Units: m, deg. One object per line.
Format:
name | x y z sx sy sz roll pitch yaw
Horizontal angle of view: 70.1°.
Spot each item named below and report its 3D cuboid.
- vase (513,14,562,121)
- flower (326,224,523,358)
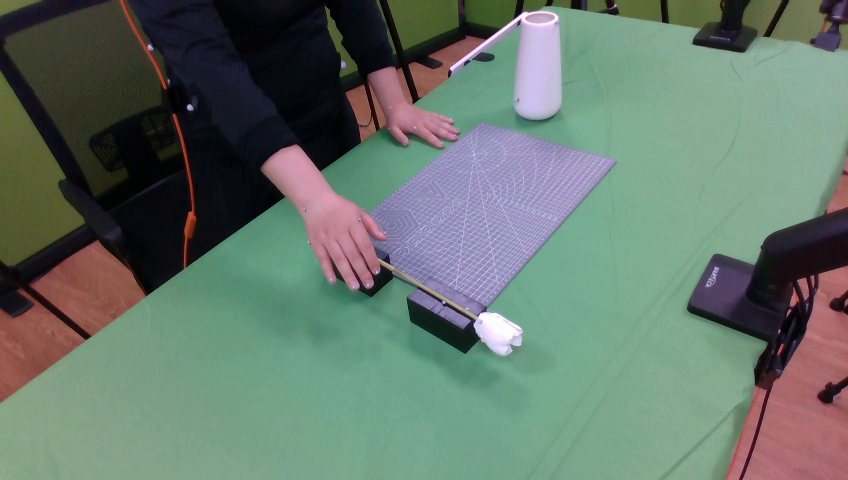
vase | 0.225 -0.336 1.196 0.098 0.201 0.097 -5 42 5
flower | -0.018 0.054 0.836 0.359 0.038 0.044 30 83 32
